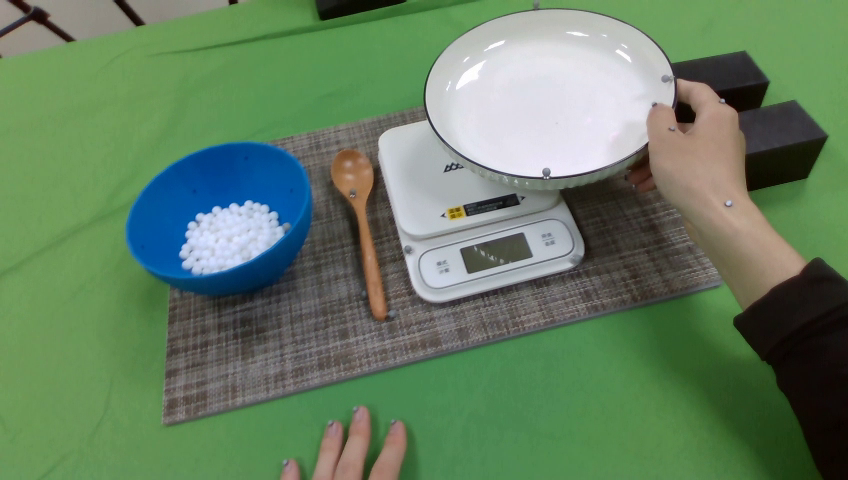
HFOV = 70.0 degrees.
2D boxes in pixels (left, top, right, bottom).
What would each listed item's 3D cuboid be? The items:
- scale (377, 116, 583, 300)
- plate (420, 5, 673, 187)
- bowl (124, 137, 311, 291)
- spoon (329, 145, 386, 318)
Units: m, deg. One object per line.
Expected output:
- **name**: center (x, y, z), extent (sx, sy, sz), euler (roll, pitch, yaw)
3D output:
- **scale**: center (0.043, -0.046, 0.549), extent (0.149, 0.032, 0.198), euler (-14, 52, -3)
- **plate**: center (0.101, -0.123, 0.517), extent (0.209, 0.038, 0.207), euler (-4, 55, 6)
- **bowl**: center (-0.163, -0.009, 0.519), extent (0.151, 0.077, 0.150), euler (-4, 51, 5)
- **spoon**: center (-0.057, -0.014, 0.544), extent (0.042, 0.022, 0.191), euler (-4, 50, -14)
